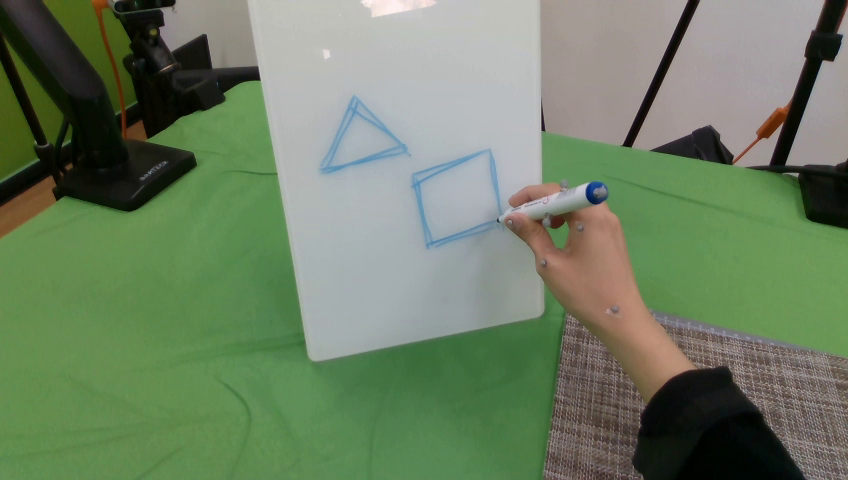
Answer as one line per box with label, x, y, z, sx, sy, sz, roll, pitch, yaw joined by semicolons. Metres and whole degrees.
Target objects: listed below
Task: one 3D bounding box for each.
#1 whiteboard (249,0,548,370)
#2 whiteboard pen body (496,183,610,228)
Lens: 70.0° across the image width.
whiteboard;-0.019;-0.072;0.544;0.218;0.307;0.142;-9;19;-12
whiteboard pen body;0.088;-0.022;0.448;0.017;0.017;0.140;-18;0;-23
